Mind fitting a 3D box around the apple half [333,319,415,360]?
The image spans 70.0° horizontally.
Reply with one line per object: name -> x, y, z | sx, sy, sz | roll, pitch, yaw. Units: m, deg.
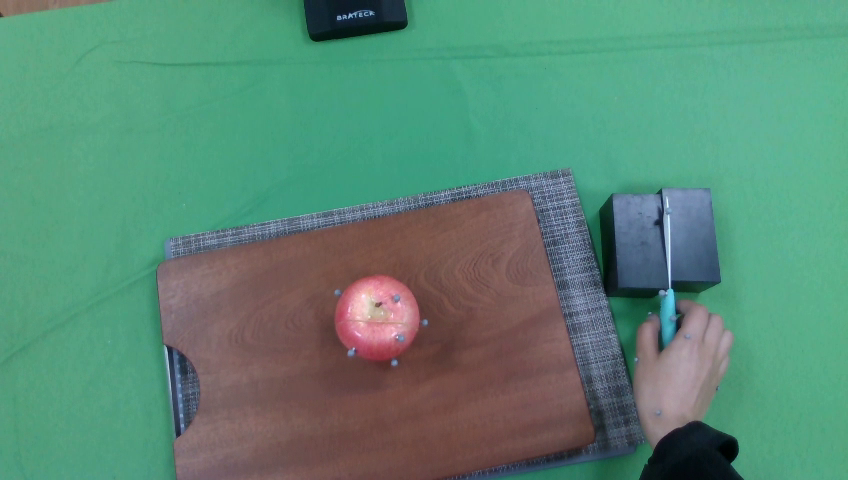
apple half -> -0.048, 0.098, 0.571 | 0.081, 0.082, 0.032 | 2, 70, 0

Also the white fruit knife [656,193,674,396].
white fruit knife -> 0.241, 0.056, 0.612 | 0.016, 0.027, 0.207 | -1, 89, 0

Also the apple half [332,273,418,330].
apple half -> -0.046, 0.060, 0.583 | 0.081, 0.075, 0.053 | 0, 70, 4
